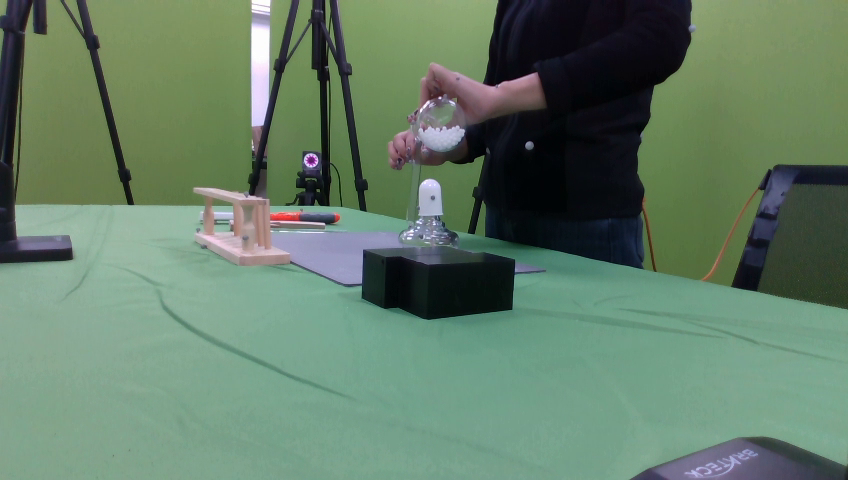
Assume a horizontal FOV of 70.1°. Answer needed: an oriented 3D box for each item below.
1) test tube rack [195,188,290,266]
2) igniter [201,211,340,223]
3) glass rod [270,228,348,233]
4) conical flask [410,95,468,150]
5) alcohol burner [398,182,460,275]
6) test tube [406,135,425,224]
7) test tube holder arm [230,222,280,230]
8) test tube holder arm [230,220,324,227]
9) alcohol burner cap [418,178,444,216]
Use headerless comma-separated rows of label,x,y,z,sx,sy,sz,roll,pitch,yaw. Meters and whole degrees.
test tube rack,-0.266,-0.025,0.864,0.067,0.085,0.241,-2,9,-33
igniter,-0.311,-0.048,1.243,0.278,0.025,0.057,-1,-2,-24
glass rod,-0.234,-0.017,1.105,0.201,0.008,0.008,1,7,-26
conical flask,0.012,-0.170,0.887,0.075,0.075,0.121,0,8,-15
alcohol burner,0.007,-0.017,0.751,0.078,0.119,0.078,3,10,0
test tube,-0.015,-0.095,0.979,0.017,0.150,0.017,6,23,-2
test tube holder arm,-0.312,-0.025,1.118,0.088,0.015,0.010,-1,45,-30
test tube holder arm,-0.275,-0.030,1.145,0.179,0.015,0.013,-2,45,-31
alcohol burner cap,0.007,-0.053,0.745,0.034,0.048,0.034,-3,6,1
